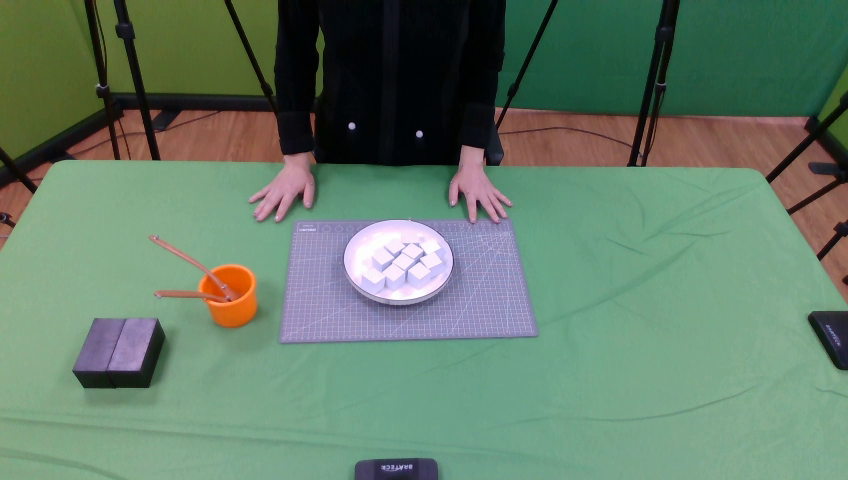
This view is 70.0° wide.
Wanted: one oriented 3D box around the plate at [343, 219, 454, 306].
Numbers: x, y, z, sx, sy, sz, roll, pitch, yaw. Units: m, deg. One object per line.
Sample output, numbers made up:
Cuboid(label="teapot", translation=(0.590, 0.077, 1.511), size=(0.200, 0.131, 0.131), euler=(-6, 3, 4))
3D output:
Cuboid(label="plate", translation=(-0.047, 0.045, 1.136), size=(0.208, 0.039, 0.206), euler=(2, 46, -2))

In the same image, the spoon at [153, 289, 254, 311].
Cuboid(label="spoon", translation=(-0.355, 0.094, 0.990), size=(0.021, 0.195, 0.041), euler=(-49, 59, 11))

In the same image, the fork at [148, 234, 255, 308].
Cuboid(label="fork", translation=(-0.372, 0.054, 1.020), size=(0.208, 0.018, 0.028), euler=(43, 22, -22))
